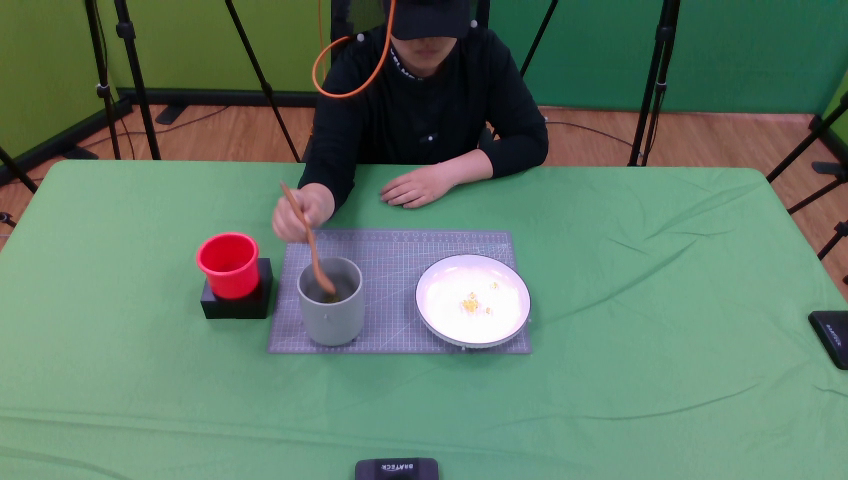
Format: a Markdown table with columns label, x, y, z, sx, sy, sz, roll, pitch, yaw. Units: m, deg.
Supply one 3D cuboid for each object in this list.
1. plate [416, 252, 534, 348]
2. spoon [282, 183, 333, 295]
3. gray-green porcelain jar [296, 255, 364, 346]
| label | x | y | z | sx | sy | sz | roll | pitch | yaw |
| --- | --- | --- | --- | --- | --- | --- | --- | --- | --- |
| plate | 0.090 | 0.109 | 1.084 | 0.208 | 0.039 | 0.206 | 2 | 46 | -2 |
| spoon | -0.177 | 0.001 | 0.925 | 0.021 | 0.194 | 0.041 | -16 | 21 | -2 |
| gray-green porcelain jar | -0.153 | 0.106 | 1.008 | 0.106 | 0.127 | 0.105 | 2 | 46 | -2 |
